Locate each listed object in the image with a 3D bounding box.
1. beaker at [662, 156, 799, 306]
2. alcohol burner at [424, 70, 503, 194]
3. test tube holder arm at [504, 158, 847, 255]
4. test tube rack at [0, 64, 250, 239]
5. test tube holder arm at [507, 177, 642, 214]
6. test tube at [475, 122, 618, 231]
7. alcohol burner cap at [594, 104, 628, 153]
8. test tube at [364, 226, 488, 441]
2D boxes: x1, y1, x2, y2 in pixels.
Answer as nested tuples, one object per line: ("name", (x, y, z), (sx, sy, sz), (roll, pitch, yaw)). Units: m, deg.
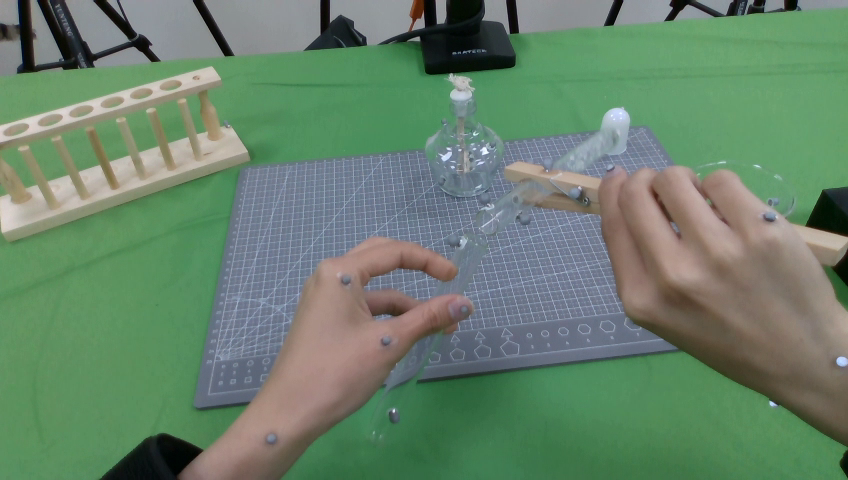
("beaker", (0.228, -0.005, 0.471), (0.074, 0.101, 0.083), (-27, 47, -23))
("alcohol burner", (0.037, -0.105, 0.578), (0.078, 0.120, 0.077), (-3, 42, 3))
("test tube holder arm", (0.110, -0.022, 0.305), (0.015, 0.013, 0.177), (-32, 33, -30))
("test tube rack", (-0.313, -0.095, 0.615), (0.243, 0.086, 0.066), (-23, 47, -20))
("test tube holder arm", (0.083, -0.026, 0.340), (0.015, 0.010, 0.087), (-31, 27, -30))
("test tube", (0.080, -0.043, 0.370), (0.017, 0.017, 0.150), (28, 43, 30))
("alcohol burner cap", (0.198, -0.120, 0.636), (0.034, 0.048, 0.033), (-2, 43, 2))
("test tube", (-0.002, 0.059, 0.354), (0.017, 0.151, 0.017), (23, 19, -8))
